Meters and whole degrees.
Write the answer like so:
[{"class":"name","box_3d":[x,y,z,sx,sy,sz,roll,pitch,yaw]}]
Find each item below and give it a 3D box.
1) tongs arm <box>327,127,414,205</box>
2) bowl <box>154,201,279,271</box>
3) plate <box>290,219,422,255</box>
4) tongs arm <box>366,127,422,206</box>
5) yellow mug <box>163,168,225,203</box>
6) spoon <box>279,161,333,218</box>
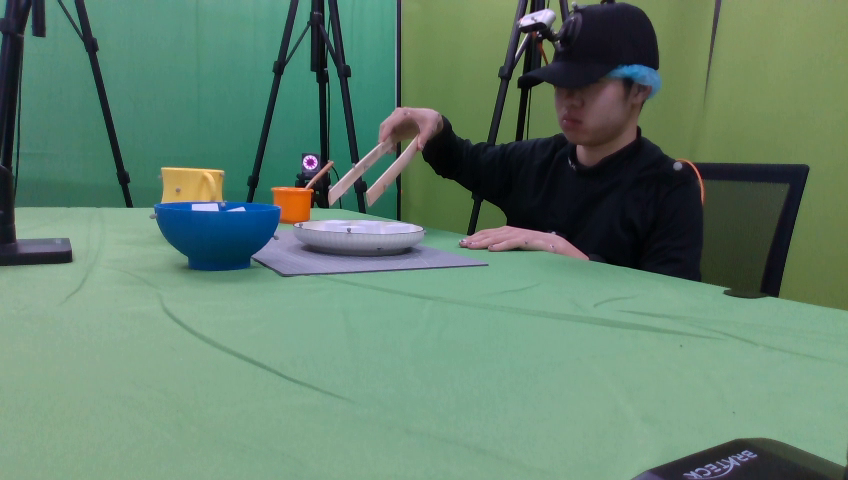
[{"class":"tongs arm","box_3d":[-0.086,-0.145,1.106,0.050,0.026,0.385,0,25,13]},{"class":"bowl","box_3d":[-0.261,-0.005,0.770,0.151,0.077,0.151,3,8,0]},{"class":"plate","box_3d":[-0.108,-0.005,0.963,0.208,0.039,0.207,3,7,0]},{"class":"tongs arm","box_3d":[-0.049,-0.144,1.097,0.028,0.028,0.387,-3,24,15]},{"class":"yellow mug","box_3d":[-0.383,-0.087,1.026,0.130,0.064,0.100,11,11,44]},{"class":"spoon","box_3d":[-0.262,-0.115,1.359,0.041,0.194,0.022,12,-33,38]}]
